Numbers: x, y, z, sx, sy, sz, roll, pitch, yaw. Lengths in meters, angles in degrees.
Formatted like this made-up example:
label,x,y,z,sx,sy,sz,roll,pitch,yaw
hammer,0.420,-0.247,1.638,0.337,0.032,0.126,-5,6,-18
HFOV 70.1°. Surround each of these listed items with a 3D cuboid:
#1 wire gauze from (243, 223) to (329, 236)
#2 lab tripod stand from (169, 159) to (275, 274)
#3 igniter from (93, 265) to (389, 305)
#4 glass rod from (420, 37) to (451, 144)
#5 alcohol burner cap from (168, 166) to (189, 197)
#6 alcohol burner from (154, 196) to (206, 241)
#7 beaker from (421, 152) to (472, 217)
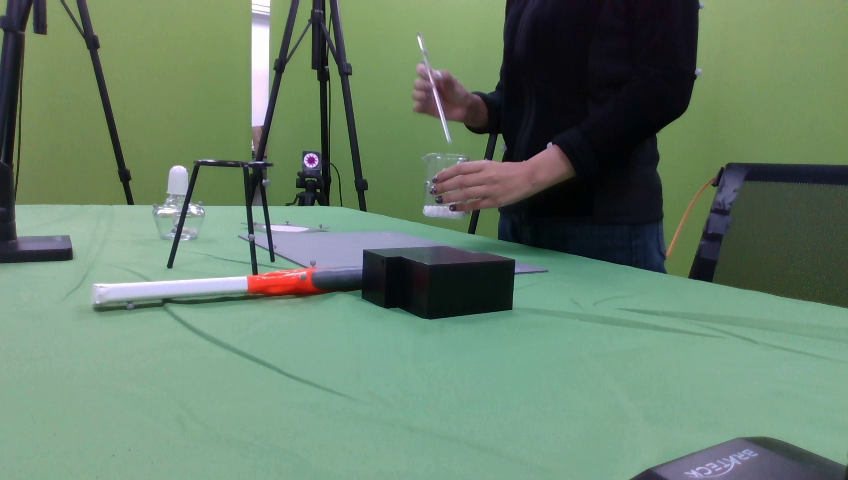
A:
label,x,y,z,sx,sy,sz,roll,pitch,yaw
wire gauze,-0.266,-0.024,1.156,0.124,0.011,0.122,12,12,40
lab tripod stand,-0.230,-0.030,0.724,0.148,0.131,0.148,1,9,0
igniter,-0.164,0.042,0.589,0.278,0.025,0.057,-2,-6,-31
glass rod,0.019,-0.248,0.994,0.008,0.199,0.008,-13,-14,-3
alcohol burner cap,-0.392,-0.095,0.970,0.034,0.048,0.034,7,7,-1
alcohol burner,-0.393,-0.059,0.974,0.078,0.119,0.078,1,8,0
beaker,0.033,-0.088,0.961,0.084,0.100,0.073,1,4,-23
